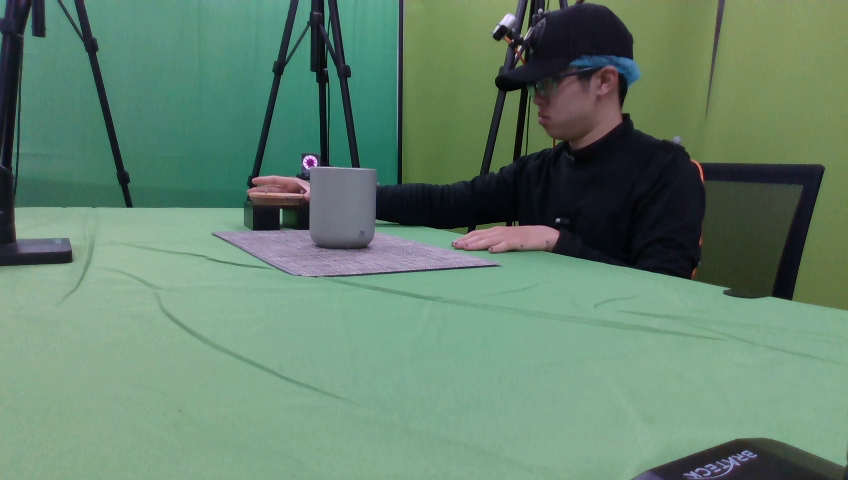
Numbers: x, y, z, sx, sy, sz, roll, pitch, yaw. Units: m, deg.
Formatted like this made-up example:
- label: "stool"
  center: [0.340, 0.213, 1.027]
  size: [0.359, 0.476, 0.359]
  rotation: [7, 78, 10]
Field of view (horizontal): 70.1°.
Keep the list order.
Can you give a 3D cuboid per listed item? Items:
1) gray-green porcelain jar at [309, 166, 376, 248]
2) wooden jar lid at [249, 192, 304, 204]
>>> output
- label: "gray-green porcelain jar"
  center: [-0.130, -0.054, 0.966]
  size: [0.106, 0.126, 0.106]
  rotation: [2, 7, 0]
- label: "wooden jar lid"
  center: [-0.297, -0.086, 1.218]
  size: [0.108, 0.020, 0.108]
  rotation: [4, 7, 0]
